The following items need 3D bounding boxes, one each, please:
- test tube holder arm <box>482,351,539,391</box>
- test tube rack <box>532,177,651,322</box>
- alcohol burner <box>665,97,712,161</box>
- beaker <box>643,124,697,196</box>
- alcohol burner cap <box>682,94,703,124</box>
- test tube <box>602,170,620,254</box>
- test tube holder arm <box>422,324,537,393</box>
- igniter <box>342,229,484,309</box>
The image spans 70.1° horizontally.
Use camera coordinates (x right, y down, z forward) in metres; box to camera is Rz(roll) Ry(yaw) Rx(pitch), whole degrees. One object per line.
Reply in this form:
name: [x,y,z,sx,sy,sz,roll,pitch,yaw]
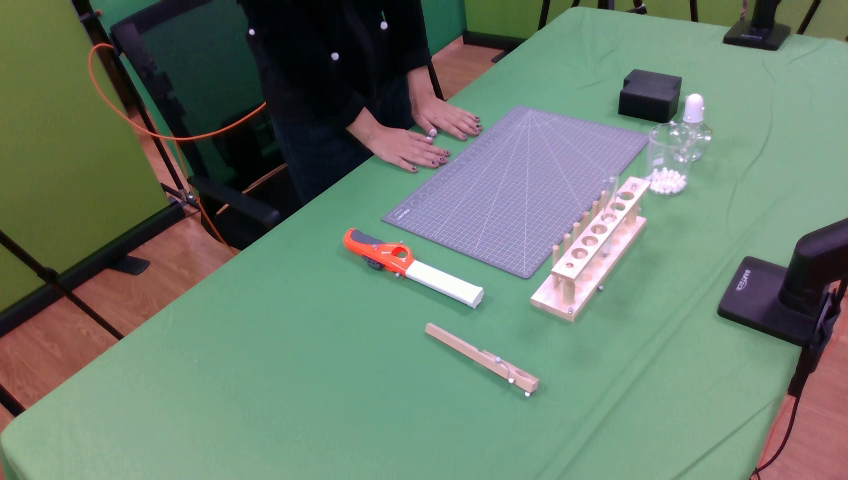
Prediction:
test tube holder arm: [0.106,0.166,0.769,0.087,0.015,0.010,24,15,34]
test tube rack: [0.247,0.002,0.883,0.066,0.085,0.243,22,49,32]
alcohol burner: [0.465,-0.198,1.057,0.078,0.119,0.077,-4,41,4]
beaker: [0.407,-0.132,1.001,0.084,0.101,0.073,-20,42,-13]
alcohol burner cap: [0.460,-0.225,1.033,0.034,0.048,0.033,-8,34,6]
test tube: [0.261,-0.035,0.848,0.017,0.151,0.017,-6,44,6]
test tube holder arm: [0.068,0.152,0.789,0.177,0.015,0.013,23,15,32]
igniter: [-0.027,0.039,0.936,0.274,0.025,0.057,23,59,32]
